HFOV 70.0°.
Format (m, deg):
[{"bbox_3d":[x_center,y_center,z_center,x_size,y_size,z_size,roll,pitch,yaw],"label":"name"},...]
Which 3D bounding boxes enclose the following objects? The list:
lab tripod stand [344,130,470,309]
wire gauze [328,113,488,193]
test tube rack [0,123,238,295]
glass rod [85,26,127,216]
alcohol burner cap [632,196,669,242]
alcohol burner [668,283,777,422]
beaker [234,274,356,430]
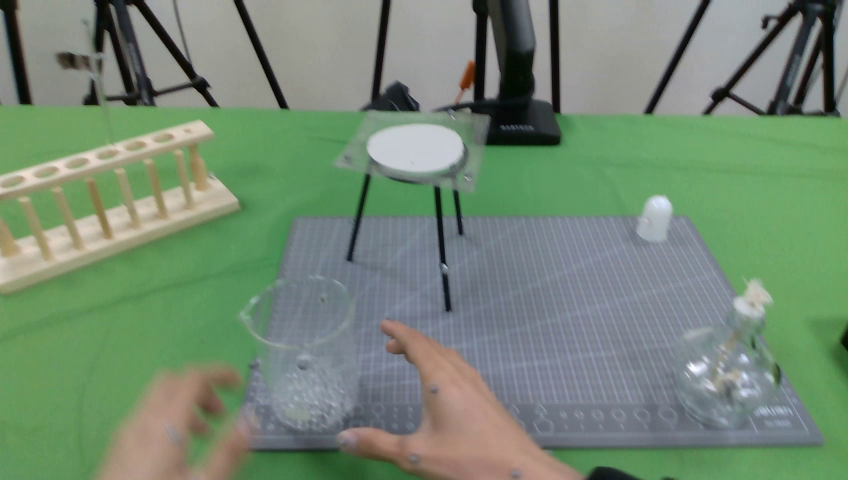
[{"bbox_3d":[-0.009,-0.026,0.575,0.148,0.132,0.147,0,39,1],"label":"lab tripod stand"},{"bbox_3d":[-0.010,-0.085,0.541,0.125,0.011,0.120,7,38,10],"label":"wire gauze"},{"bbox_3d":[-0.328,-0.040,0.629,0.243,0.086,0.066,-25,44,-30],"label":"test tube rack"},{"bbox_3d":[-0.322,-0.114,0.618,0.008,0.201,0.008,4,31,-2],"label":"glass rod"},{"bbox_3d":[0.247,-0.025,0.656,0.034,0.048,0.033,1,37,0],"label":"alcohol burner cap"},{"bbox_3d":[0.230,0.081,0.457,0.078,0.120,0.077,1,36,0],"label":"alcohol burner"},{"bbox_3d":[-0.091,0.087,0.454,0.084,0.101,0.073,-2,37,-2],"label":"beaker"}]
